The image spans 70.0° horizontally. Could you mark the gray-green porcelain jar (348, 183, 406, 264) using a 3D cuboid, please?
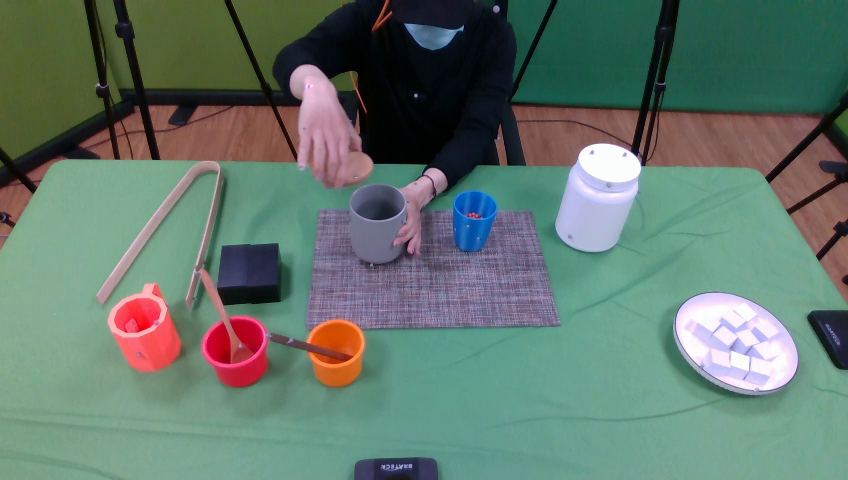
[{"bbox_3d":[-0.087,-0.026,1.138,0.106,0.127,0.105,2,46,-2],"label":"gray-green porcelain jar"}]

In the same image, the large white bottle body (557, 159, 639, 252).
[{"bbox_3d":[0.340,-0.081,1.184,0.131,0.185,0.130,2,46,-1],"label":"large white bottle body"}]

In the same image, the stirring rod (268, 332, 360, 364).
[{"bbox_3d":[-0.167,0.169,0.942,0.177,0.006,0.014,26,26,-41],"label":"stirring rod"}]

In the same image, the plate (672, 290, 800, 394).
[{"bbox_3d":[0.533,0.178,1.050,0.208,0.039,0.206,2,46,-2],"label":"plate"}]

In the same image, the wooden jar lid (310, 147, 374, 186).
[{"bbox_3d":[-0.141,-0.126,1.046,0.108,0.021,0.107,4,40,-3],"label":"wooden jar lid"}]

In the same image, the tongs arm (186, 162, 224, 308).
[{"bbox_3d":[-0.435,-0.025,1.181,0.051,0.027,0.382,-3,45,0],"label":"tongs arm"}]

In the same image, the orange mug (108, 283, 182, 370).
[{"bbox_3d":[-0.446,0.134,0.982,0.083,0.101,0.125,-1,51,-5],"label":"orange mug"}]

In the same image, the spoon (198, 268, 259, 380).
[{"bbox_3d":[-0.313,0.133,0.962,0.041,0.021,0.194,-24,96,-21],"label":"spoon"}]

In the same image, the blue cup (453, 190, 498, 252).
[{"bbox_3d":[0.093,-0.032,1.174,0.093,0.101,0.092,3,45,-3],"label":"blue cup"}]

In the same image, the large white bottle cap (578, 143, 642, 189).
[{"bbox_3d":[0.344,-0.139,1.123,0.115,0.018,0.114,2,46,-2],"label":"large white bottle cap"}]

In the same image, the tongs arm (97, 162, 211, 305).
[{"bbox_3d":[-0.519,-0.028,1.184,0.028,0.028,0.385,5,45,13],"label":"tongs arm"}]
